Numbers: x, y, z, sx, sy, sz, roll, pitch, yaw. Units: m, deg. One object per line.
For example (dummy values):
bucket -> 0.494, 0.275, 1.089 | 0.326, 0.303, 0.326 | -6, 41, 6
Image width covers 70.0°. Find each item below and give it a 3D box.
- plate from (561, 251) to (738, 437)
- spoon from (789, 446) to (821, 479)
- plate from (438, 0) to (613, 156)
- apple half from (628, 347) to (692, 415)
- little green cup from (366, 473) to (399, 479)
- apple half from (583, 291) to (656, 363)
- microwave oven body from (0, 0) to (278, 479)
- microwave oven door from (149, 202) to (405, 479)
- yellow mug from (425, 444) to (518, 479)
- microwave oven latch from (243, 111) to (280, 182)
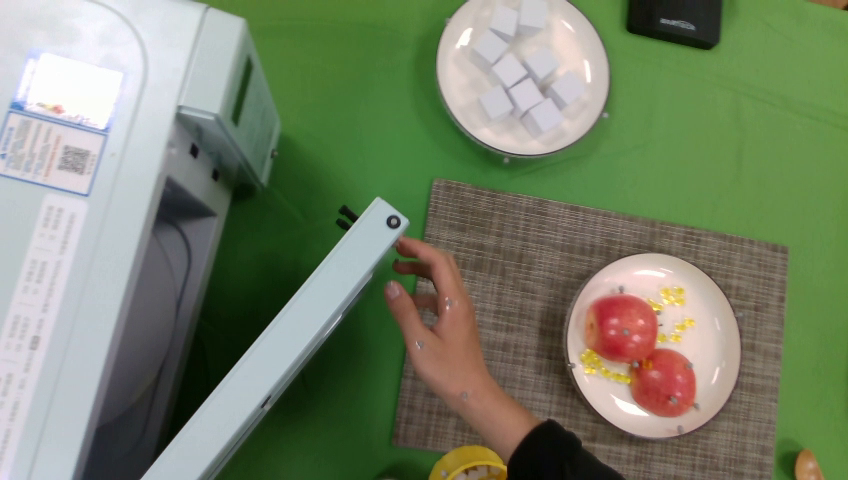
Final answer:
plate -> 0.253, 0.117, 0.693 | 0.209, 0.038, 0.208 | 1, 84, -8
spoon -> 0.487, 0.325, 0.712 | 0.041, 0.021, 0.193 | -36, 89, -27
plate -> 0.118, -0.197, 0.717 | 0.208, 0.039, 0.207 | 1, 83, -7
apple half -> 0.271, 0.160, 0.684 | 0.081, 0.033, 0.081 | 1, 80, -7
little green cup -> -0.044, 0.276, 0.638 | 0.062, 0.038, 0.061 | 1, 81, -8
apple half -> 0.221, 0.096, 0.676 | 0.075, 0.053, 0.080 | 9, 83, -4
microwave oven body -> -0.346, 0.018, 0.513 | 0.327, 0.260, 0.440 | 14, 82, -7
microwave oven door -> -0.146, 0.126, 0.522 | 0.039, 0.244, 0.355 | 39, 80, 0
yellow mug -> 0.046, 0.287, 0.634 | 0.100, 0.064, 0.130 | 22, 84, -5
microwave oven latch -> -0.175, -0.104, 0.649 | 0.030, 0.029, 0.079 | 13, 82, -7
